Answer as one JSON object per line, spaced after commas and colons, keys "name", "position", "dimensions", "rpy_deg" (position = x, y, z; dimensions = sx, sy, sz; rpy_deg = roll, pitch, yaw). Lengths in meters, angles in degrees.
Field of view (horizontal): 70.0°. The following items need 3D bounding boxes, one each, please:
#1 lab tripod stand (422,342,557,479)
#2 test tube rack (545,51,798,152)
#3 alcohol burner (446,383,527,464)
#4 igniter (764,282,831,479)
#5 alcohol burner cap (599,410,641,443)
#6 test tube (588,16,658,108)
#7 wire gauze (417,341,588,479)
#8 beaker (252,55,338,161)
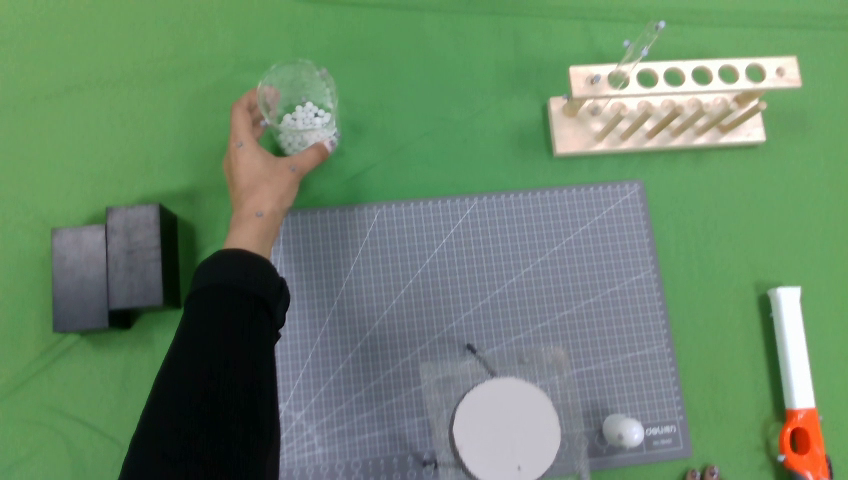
{"name": "lab tripod stand", "position": [0.058, 0.164, 0.552], "dimensions": [0.148, 0.132, 0.147], "rpy_deg": [1, 79, -2]}
{"name": "test tube rack", "position": [0.262, -0.147, 0.652], "dimensions": [0.243, 0.085, 0.066], "rpy_deg": [-4, 79, -5]}
{"name": "alcohol burner", "position": [0.061, 0.170, 0.562], "dimensions": [0.078, 0.119, 0.077], "rpy_deg": [1, 77, -5]}
{"name": "igniter", "position": [0.390, 0.182, 0.632], "dimensions": [0.057, 0.025, 0.275], "rpy_deg": [0, 80, -14]}
{"name": "alcohol burner cap", "position": [0.198, 0.188, 0.606], "dimensions": [0.034, 0.048, 0.033], "rpy_deg": [1, 79, -3]}
{"name": "test tube", "position": [0.193, -0.171, 0.600], "dimensions": [0.017, 0.151, 0.017], "rpy_deg": [1, 75, -4]}
{"name": "wire gauze", "position": [0.064, 0.148, 0.487], "dimensions": [0.125, 0.011, 0.121], "rpy_deg": [-7, 79, -6]}
{"name": "beaker", "position": [-0.122, -0.125, 0.610], "dimensions": [0.084, 0.100, 0.074], "rpy_deg": [42, 78, 4]}
